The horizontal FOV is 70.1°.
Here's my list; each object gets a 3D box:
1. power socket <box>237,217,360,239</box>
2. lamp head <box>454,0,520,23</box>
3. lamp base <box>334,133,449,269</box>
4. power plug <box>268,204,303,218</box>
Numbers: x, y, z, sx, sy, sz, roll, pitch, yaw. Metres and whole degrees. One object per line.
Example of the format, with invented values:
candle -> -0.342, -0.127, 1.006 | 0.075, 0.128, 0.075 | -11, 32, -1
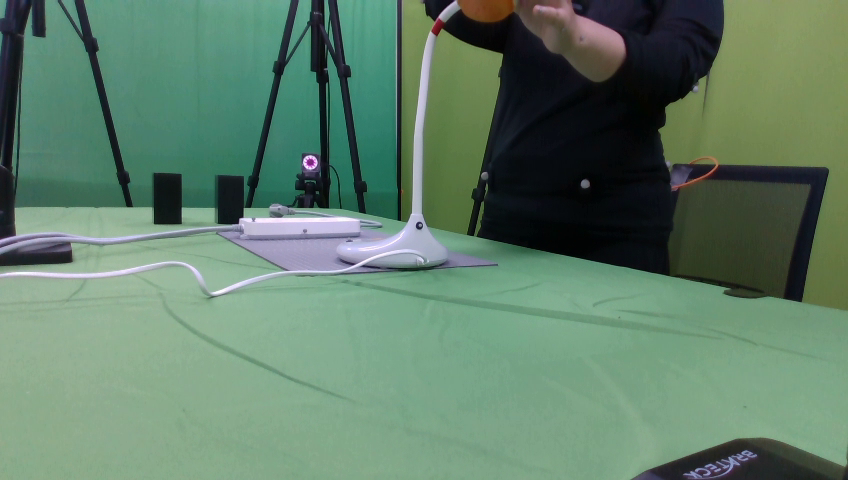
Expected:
power socket -> -0.221, -0.023, 1.080 | 0.228, 0.032, 0.072 | -2, 8, -33
lamp head -> 0.073, -0.319, 0.706 | 0.112, 0.122, 0.112 | 8, -3, 1
lamp base -> -0.034, -0.057, 0.831 | 0.161, 0.180, 0.178 | -2, 12, -36
power plug -> -0.327, -0.060, 1.404 | 0.073, 0.035, 0.052 | 22, -14, -26
